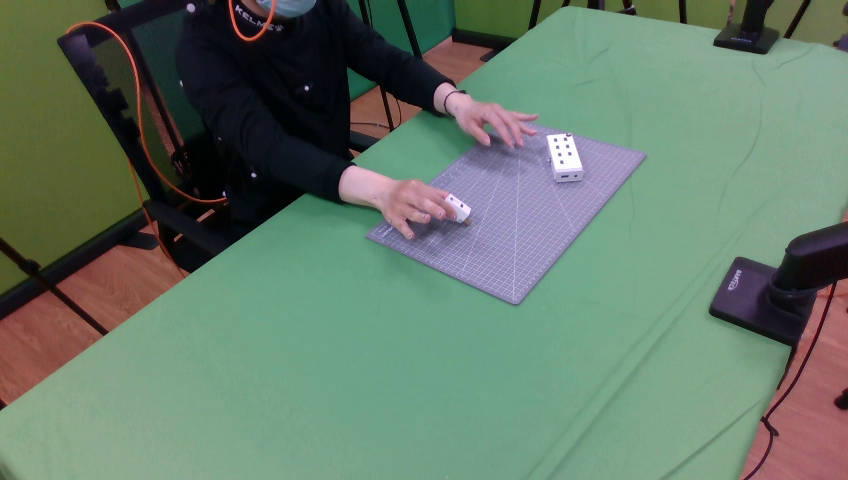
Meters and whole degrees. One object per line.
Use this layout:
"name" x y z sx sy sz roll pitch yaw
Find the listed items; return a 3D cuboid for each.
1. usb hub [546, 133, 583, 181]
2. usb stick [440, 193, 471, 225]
"usb hub" 0.256 -0.152 1.103 0.049 0.025 0.124 -3 41 4
"usb stick" 0.057 -0.048 0.990 0.059 0.027 0.021 38 34 -13
